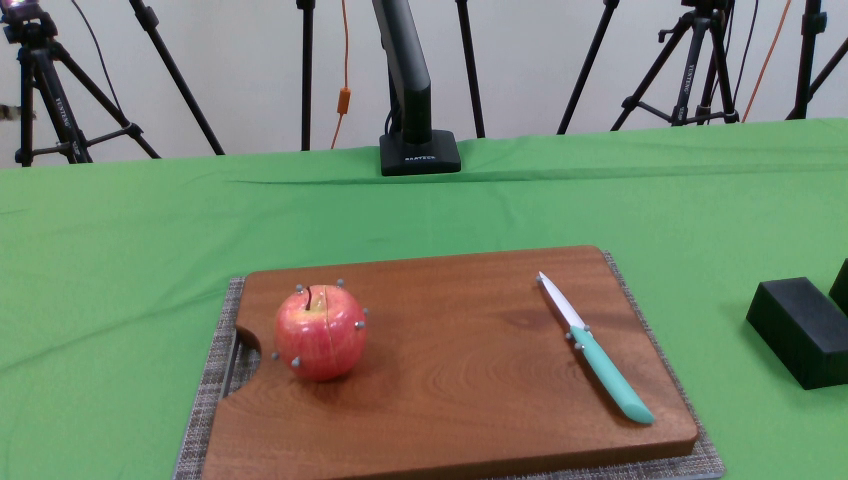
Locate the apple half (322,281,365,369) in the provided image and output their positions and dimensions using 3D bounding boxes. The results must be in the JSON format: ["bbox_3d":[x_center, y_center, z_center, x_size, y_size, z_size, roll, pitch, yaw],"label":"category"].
[{"bbox_3d":[-0.069,0.075,0.545,0.033,0.082,0.080,-11,38,-6],"label":"apple half"}]

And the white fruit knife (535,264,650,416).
[{"bbox_3d":[0.149,0.084,0.576,0.027,0.016,0.205,16,27,-27],"label":"white fruit knife"}]

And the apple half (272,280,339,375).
[{"bbox_3d":[-0.107,0.081,0.540,0.053,0.075,0.080,-12,42,-6],"label":"apple half"}]
